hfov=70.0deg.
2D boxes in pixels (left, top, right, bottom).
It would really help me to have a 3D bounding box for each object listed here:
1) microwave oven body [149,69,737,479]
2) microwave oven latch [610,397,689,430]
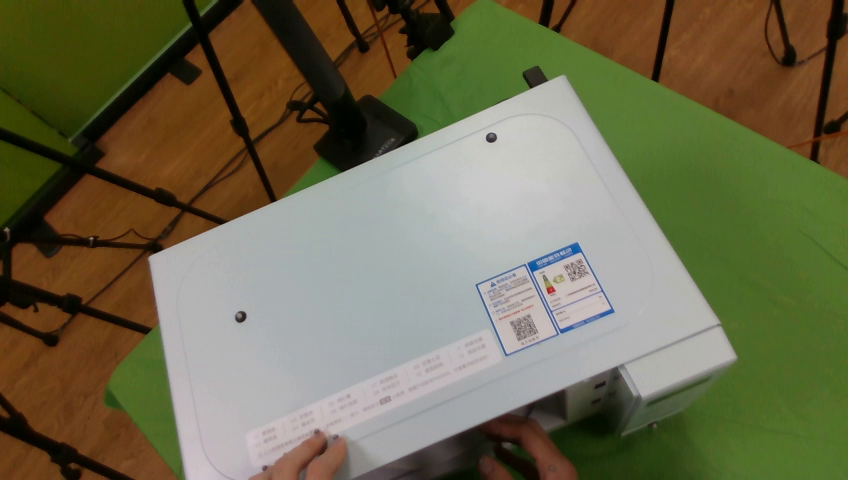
[{"bbox_3d":[0.006,0.086,0.628,0.442,0.262,0.323,-24,64,2],"label":"microwave oven body"},{"bbox_3d":[0.240,0.174,0.643,0.079,0.030,0.030,-22,64,3],"label":"microwave oven latch"}]
